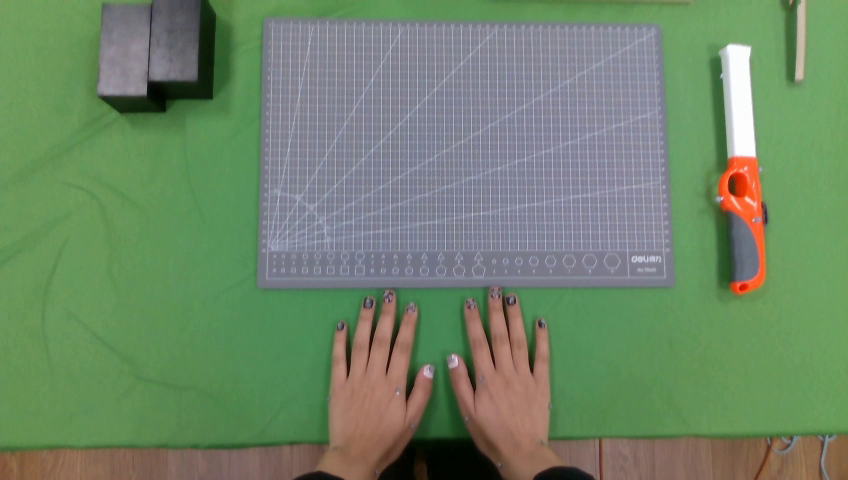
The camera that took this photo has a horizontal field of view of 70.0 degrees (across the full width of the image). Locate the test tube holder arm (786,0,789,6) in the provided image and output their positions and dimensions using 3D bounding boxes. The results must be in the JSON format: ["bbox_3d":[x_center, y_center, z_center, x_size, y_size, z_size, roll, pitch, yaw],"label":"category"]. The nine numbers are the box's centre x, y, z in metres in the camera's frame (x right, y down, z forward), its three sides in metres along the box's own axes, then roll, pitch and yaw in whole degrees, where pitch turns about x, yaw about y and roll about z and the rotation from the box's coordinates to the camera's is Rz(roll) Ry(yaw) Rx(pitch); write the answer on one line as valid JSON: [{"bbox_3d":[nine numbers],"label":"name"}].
[{"bbox_3d":[0.429,-0.319,0.709,0.010,0.015,0.087,-2,83,33],"label":"test tube holder arm"}]

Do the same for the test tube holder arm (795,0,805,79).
[{"bbox_3d":[0.433,-0.274,0.701,0.013,0.015,0.178,-4,82,32],"label":"test tube holder arm"}]

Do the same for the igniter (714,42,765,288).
[{"bbox_3d":[0.347,-0.084,0.672,0.057,0.025,0.275,2,83,-12],"label":"igniter"}]
